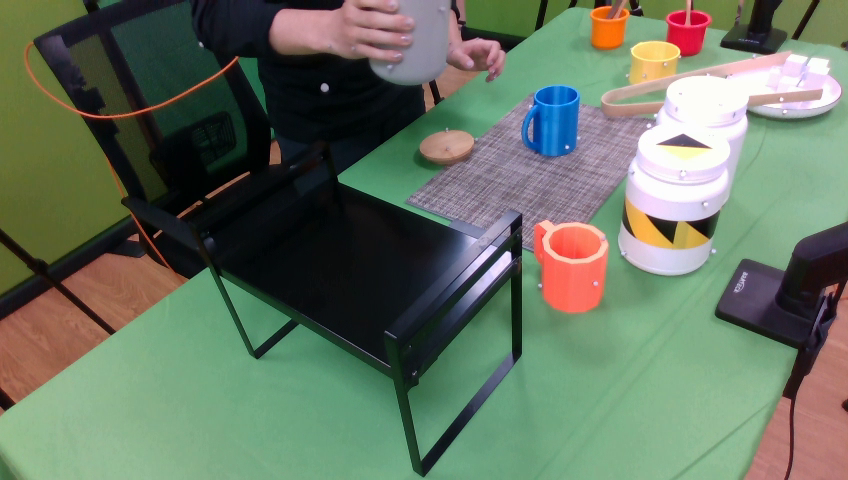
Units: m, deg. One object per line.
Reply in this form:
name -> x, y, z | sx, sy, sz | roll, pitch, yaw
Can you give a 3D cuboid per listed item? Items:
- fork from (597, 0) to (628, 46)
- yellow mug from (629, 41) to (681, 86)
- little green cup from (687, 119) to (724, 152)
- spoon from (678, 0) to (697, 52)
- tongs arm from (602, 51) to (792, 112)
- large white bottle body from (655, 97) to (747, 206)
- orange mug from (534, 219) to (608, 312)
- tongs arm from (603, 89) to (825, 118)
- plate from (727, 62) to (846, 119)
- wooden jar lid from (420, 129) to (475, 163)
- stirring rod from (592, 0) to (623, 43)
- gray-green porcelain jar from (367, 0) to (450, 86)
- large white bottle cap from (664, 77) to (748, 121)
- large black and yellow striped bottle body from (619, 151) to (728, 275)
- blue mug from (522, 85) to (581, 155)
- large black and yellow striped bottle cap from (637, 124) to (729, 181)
fork -> 0.479, -0.558, 1.455 | 0.028, 0.019, 0.207 | 35, 100, 38
yellow mug -> 0.495, -0.389, 1.321 | 0.100, 0.064, 0.130 | -14, 40, -6
little green cup -> 0.514, -0.191, 1.109 | 0.061, 0.039, 0.061 | -5, 40, 5
spoon -> 0.614, -0.526, 1.402 | 0.041, 0.022, 0.193 | 3, 86, 11
tongs arm -> 0.552, -0.320, 1.224 | 0.384, 0.027, 0.050 | -10, 43, 7
large white bottle body -> 0.431, -0.148, 0.959 | 0.130, 0.185, 0.130 | -4, 41, 4
orange mug -> 0.200, 0.027, 0.858 | 0.084, 0.101, 0.125 | -24, 47, -18
tongs arm -> 0.546, -0.262, 1.163 | 0.386, 0.028, 0.028 | -1, 49, 18
plate -> 0.709, -0.292, 1.197 | 0.207, 0.039, 0.206 | -4, 40, 4
wooden jar lid -> 0.047, -0.183, 1.183 | 0.108, 0.021, 0.108 | -6, 38, 5
stirring rod -> 0.460, -0.557, 1.461 | 0.014, 0.176, 0.006 | 35, 11, 22
gray-green porcelain jar -> -0.021, -0.276, 0.792 | 0.106, 0.127, 0.105 | 2, 39, -1
large white bottle cap -> 0.421, -0.212, 0.905 | 0.115, 0.018, 0.114 | -4, 40, 4
large black and yellow striped bottle body -> 0.354, -0.056, 0.865 | 0.131, 0.185, 0.130 | -4, 41, 4
blue mug -> 0.233, -0.218, 1.127 | 0.117, 0.106, 0.081 | -23, 43, -16
large black and yellow striped bottle cap -> 0.346, -0.119, 0.810 | 0.115, 0.019, 0.114 | -5, 41, 5
